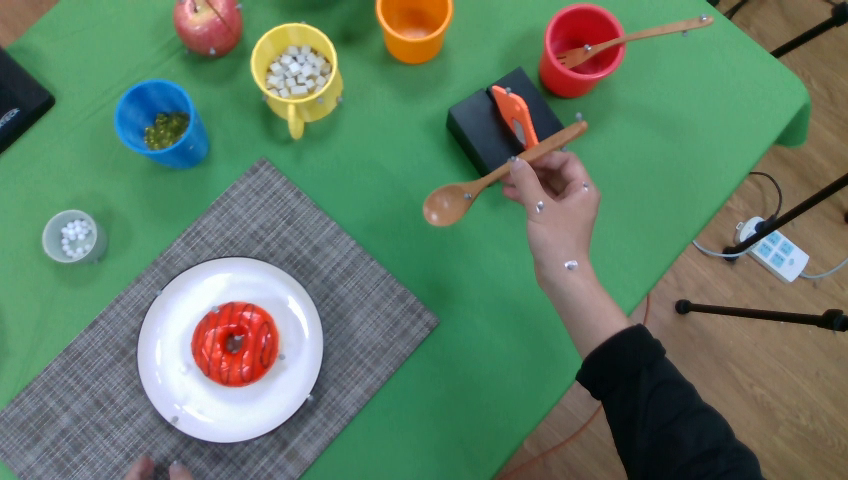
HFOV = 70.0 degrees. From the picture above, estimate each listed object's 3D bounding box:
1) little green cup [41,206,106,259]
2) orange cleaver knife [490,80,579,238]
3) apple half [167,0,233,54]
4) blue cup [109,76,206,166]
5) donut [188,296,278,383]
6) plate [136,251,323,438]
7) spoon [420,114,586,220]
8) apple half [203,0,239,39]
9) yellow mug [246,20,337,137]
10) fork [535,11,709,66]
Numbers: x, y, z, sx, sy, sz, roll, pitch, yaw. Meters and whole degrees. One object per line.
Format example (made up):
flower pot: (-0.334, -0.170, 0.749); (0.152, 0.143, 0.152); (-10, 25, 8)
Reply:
little green cup: (-0.408, -0.006, 0.710); (0.061, 0.039, 0.061); (0, 81, -2)
orange cleaver knife: (0.132, -0.095, 0.726); (0.012, 0.076, 0.213); (-32, 113, -5)
apple half: (-0.278, -0.261, 0.738); (0.053, 0.075, 0.081); (-42, 88, -5)
blue cup: (-0.298, -0.128, 0.702); (0.093, 0.100, 0.092); (1, 81, -4)
donut: (-0.215, 0.112, 0.685); (0.099, 0.048, 0.098); (0, 83, -2)
plate: (-0.218, 0.117, 0.695); (0.209, 0.038, 0.208); (0, 81, -2)
spoon: (0.070, -0.069, 0.584); (0.193, 0.022, 0.041); (-28, 79, 38)
apple half: (-0.249, -0.287, 0.742); (0.033, 0.081, 0.081); (-41, 84, -6)
yellow mug: (-0.159, -0.190, 0.735); (0.100, 0.064, 0.130); (1, 82, -3)
fork: (0.227, -0.239, 0.720); (0.206, 0.019, 0.028); (-6, 65, 39)
